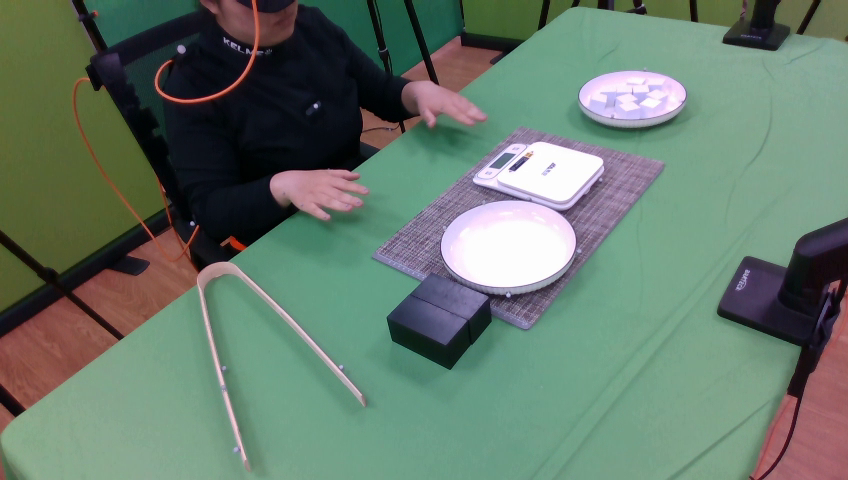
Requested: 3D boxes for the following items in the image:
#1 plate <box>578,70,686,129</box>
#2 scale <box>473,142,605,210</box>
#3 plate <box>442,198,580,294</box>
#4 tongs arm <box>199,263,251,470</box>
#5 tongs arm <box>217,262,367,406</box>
[{"bbox_3d":[0.416,-0.280,1.221,0.209,0.038,0.208,-5,41,5],"label":"plate"},{"bbox_3d":[0.202,-0.121,1.074,0.199,0.032,0.149,23,49,33],"label":"scale"},{"bbox_3d":[0.132,0.012,0.925,0.207,0.039,0.206,-5,40,5],"label":"plate"},{"bbox_3d":[-0.270,0.154,0.840,0.051,0.026,0.381,-23,41,-17],"label":"tongs arm"},{"bbox_3d":[-0.200,0.121,0.871,0.028,0.028,0.384,-36,46,-24],"label":"tongs arm"}]
